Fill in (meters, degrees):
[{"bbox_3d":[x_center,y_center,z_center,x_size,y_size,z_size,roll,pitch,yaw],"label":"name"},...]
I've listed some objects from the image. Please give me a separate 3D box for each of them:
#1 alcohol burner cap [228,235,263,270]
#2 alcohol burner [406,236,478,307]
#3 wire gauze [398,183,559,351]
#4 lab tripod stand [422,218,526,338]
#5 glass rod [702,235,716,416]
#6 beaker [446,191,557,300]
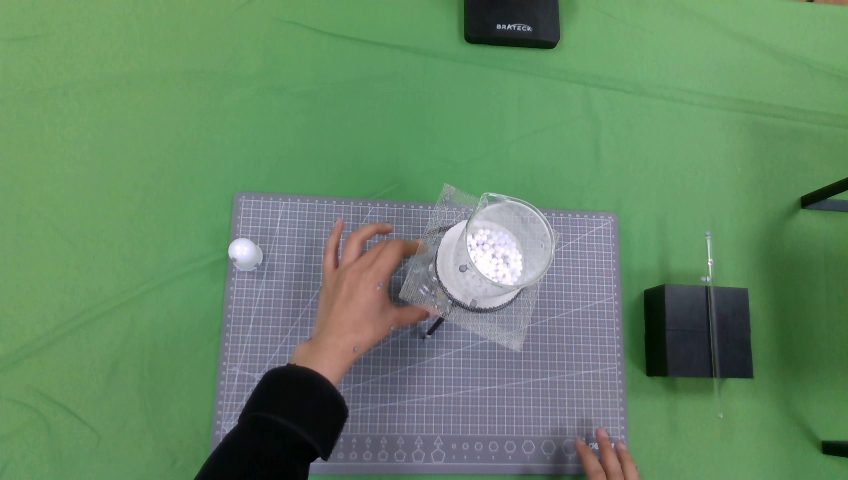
[{"bbox_3d":[-0.193,0.012,0.648,0.034,0.048,0.033,1,77,-6],"label":"alcohol burner cap"},{"bbox_3d":[0.022,0.030,0.636,0.078,0.119,0.077,2,78,-9],"label":"alcohol burner"},{"bbox_3d":[0.052,0.023,0.564,0.125,0.011,0.121,25,77,-5],"label":"wire gauze"},{"bbox_3d":[0.049,0.035,0.628,0.149,0.132,0.147,2,76,-8],"label":"lab tripod stand"},{"bbox_3d":[0.315,0.092,0.670,0.008,0.008,0.199,4,78,-6],"label":"glass rod"},{"bbox_3d":[0.059,0.009,0.518,0.074,0.100,0.083,-21,81,-12],"label":"beaker"}]
